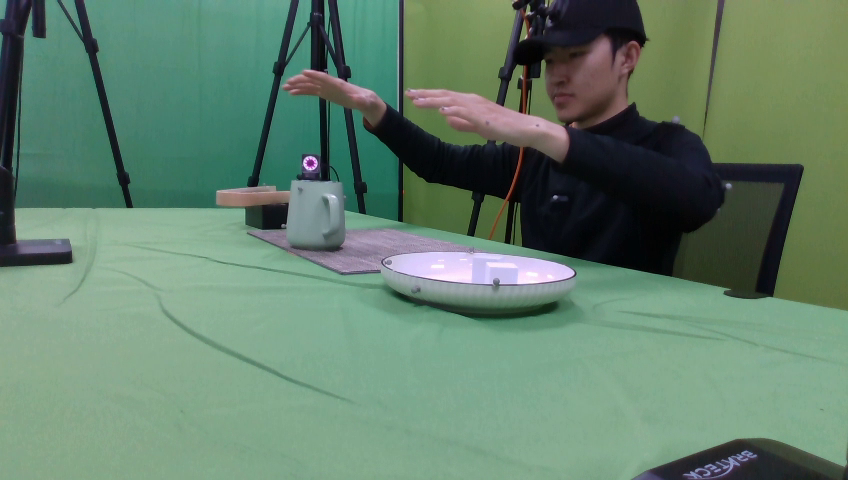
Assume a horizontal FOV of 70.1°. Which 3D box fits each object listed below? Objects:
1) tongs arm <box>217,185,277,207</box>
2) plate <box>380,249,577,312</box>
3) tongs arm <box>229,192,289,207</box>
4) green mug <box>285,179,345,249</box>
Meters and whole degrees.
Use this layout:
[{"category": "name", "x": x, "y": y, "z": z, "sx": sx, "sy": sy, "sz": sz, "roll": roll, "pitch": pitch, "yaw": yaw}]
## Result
[{"category": "tongs arm", "x": -0.361, "y": -0.098, "z": 1.295, "sx": 0.051, "sy": 0.026, "sz": 0.385, "roll": 6, "pitch": 7, "yaw": 5}, {"category": "plate", "x": 0.056, "y": 0.042, "z": 0.646, "sx": 0.209, "sy": 0.038, "sz": 0.209, "roll": 2, "pitch": 7, "yaw": 0}, {"category": "tongs arm", "x": -0.284, "y": -0.092, "z": 1.283, "sx": 0.028, "sy": 0.028, "sz": 0.388, "roll": 11, "pitch": 9, "yaw": 16}, {"category": "green mug", "x": -0.161, "y": -0.040, "z": 0.936, "sx": 0.093, "sy": 0.105, "sz": 0.124, "roll": -2, "pitch": 8, "yaw": -32}]
